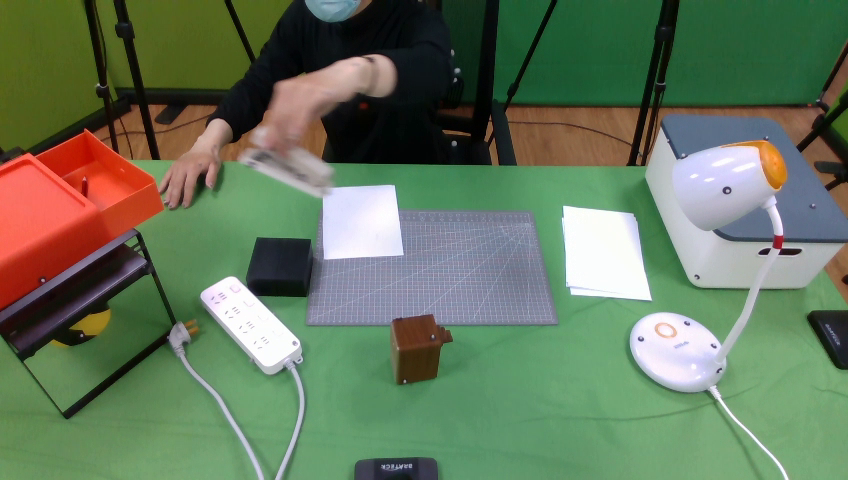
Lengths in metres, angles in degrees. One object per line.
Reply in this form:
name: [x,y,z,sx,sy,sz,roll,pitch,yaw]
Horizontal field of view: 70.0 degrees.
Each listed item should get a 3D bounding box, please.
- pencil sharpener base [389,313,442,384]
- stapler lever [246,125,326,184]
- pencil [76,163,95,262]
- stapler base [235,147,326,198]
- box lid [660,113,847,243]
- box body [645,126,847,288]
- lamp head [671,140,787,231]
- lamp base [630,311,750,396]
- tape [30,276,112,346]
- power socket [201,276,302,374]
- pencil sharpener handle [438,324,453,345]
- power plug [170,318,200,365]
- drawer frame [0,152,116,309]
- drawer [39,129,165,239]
pencil sharpener base: [-0.013,0.175,0.971,0.077,0.107,0.061,-8,47,-12]
stapler lever: [-0.191,-0.120,0.845,0.118,0.040,0.026,26,40,-2]
pencil: [-0.528,-0.047,0.943,0.012,0.012,0.193,-15,62,-18]
stapler base: [-0.202,-0.103,0.860,0.130,0.024,0.041,26,40,-2]
box lid: [0.628,-0.132,1.170,0.263,0.015,0.369,1,46,-3]
box body: [0.625,-0.080,1.222,0.254,0.161,0.361,0,46,-3]
lamp head: [0.415,-0.078,0.811,0.113,0.123,0.112,12,70,-37]
lamp base: [0.447,0.143,0.983,0.161,0.181,0.178,-24,55,-24]
tape: [-0.594,0.118,1.021,0.117,0.053,0.116,3,44,-3]
power socket: [-0.297,0.141,1.034,0.072,0.033,0.225,-34,58,-30]
pencil sharpener handle: [0.036,0.155,0.976,0.031,0.068,0.036,-8,69,-11]
power plug: [-0.392,0.167,1.015,0.052,0.035,0.072,-30,92,-23]
drawer frame: [-0.605,-0.011,0.875,0.201,0.083,0.213,31,52,23]
drawer: [-0.548,-0.060,0.930,0.193,0.073,0.211,32,53,23]
